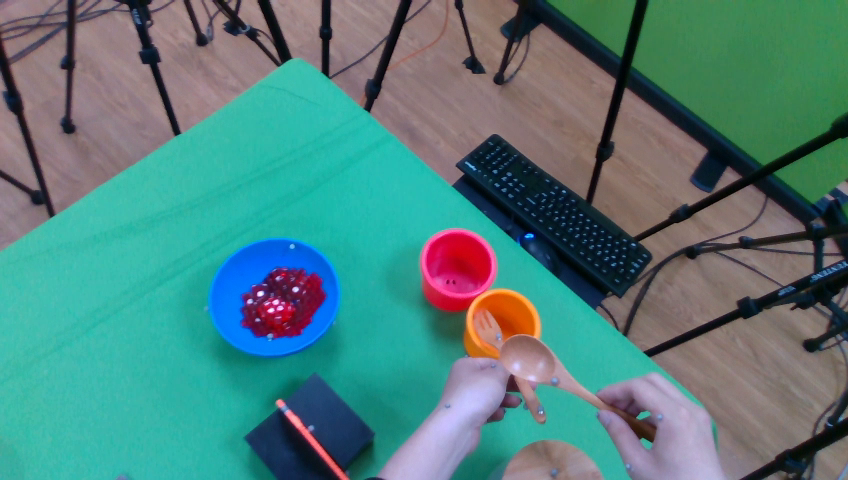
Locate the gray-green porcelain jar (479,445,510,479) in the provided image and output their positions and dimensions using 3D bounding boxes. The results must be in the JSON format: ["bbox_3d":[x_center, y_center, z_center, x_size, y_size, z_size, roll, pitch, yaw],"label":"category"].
[{"bbox_3d":[0.117,0.275,0.661,0.106,0.127,0.105,3,64,-5],"label":"gray-green porcelain jar"}]

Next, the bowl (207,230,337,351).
[{"bbox_3d":[-0.181,0.072,0.747,0.151,0.077,0.150,3,64,-6],"label":"bowl"}]

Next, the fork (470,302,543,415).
[{"bbox_3d":[0.088,0.124,0.669,0.028,0.019,0.205,-4,22,-11],"label":"fork"}]

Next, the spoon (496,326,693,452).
[{"bbox_3d":[0.152,0.138,0.545,0.193,0.022,0.041,30,84,13],"label":"spoon"}]

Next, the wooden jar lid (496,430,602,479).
[{"bbox_3d":[0.124,0.246,0.604,0.108,0.021,0.107,2,65,-4],"label":"wooden jar lid"}]

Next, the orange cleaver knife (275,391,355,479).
[{"bbox_3d":[-0.093,0.250,0.670,0.012,0.077,0.212,-41,99,-20],"label":"orange cleaver knife"}]
